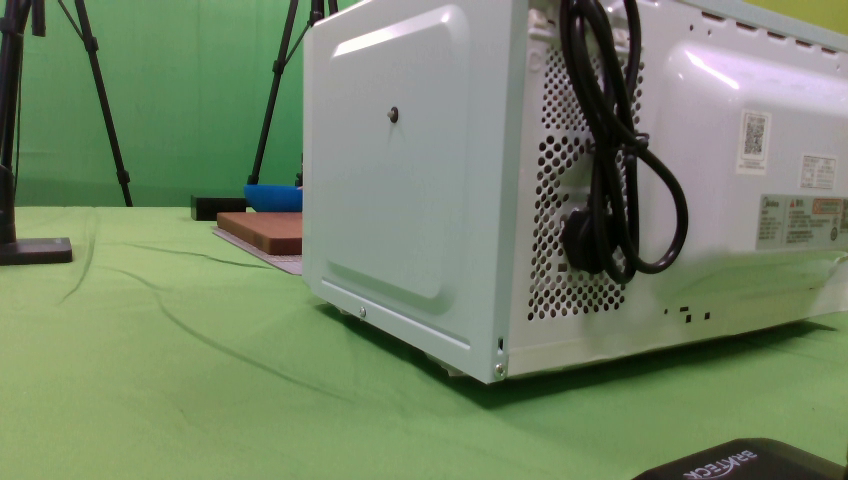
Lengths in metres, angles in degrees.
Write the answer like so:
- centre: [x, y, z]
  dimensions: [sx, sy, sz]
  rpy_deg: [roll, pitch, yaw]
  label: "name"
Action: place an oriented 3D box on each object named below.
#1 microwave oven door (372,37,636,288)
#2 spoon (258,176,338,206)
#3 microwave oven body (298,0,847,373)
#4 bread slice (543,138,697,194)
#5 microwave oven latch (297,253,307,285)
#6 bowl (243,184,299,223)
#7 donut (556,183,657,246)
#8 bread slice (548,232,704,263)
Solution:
- centre: [0.110, -0.080, 0.686]
  dimensions: [0.358, 0.243, 0.039]
  rpy_deg: [-2, 9, -33]
  label: "microwave oven door"
- centre: [-0.279, -0.112, 1.356]
  dimensions: [0.194, 0.021, 0.041]
  rpy_deg: [-28, 18, -27]
  label: "spoon"
- centre: [0.151, -0.055, 0.543]
  dimensions: [0.444, 0.260, 0.324]
  rpy_deg: [-1, 7, -33]
  label: "microwave oven body"
- centre: [0.201, -0.074, 0.606]
  dimensions: [0.133, 0.018, 0.107]
  rpy_deg: [27, 18, 39]
  label: "bread slice"
- centre: [-0.082, 0.027, 0.583]
  dimensions: [0.079, 0.029, 0.030]
  rpy_deg: [-1, 8, -33]
  label: "microwave oven latch"
- centre: [-0.321, -0.081, 1.333]
  dimensions: [0.151, 0.077, 0.151]
  rpy_deg: [3, 8, 0]
  label: "bowl"
- centre: [0.183, -0.027, 0.611]
  dimensions: [0.099, 0.048, 0.099]
  rpy_deg: [12, -12, 3]
  label: "donut"
- centre: [0.202, 0.008, 0.587]
  dimensions: [0.105, 0.019, 0.131]
  rpy_deg: [8, -7, -24]
  label: "bread slice"
